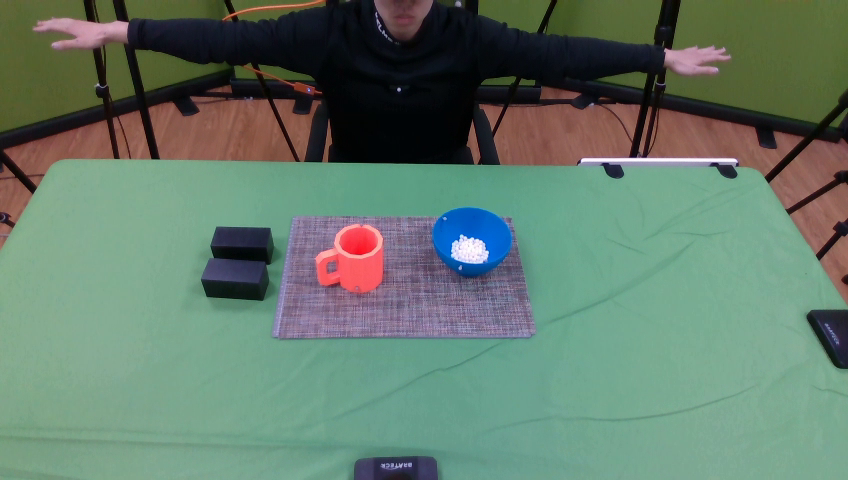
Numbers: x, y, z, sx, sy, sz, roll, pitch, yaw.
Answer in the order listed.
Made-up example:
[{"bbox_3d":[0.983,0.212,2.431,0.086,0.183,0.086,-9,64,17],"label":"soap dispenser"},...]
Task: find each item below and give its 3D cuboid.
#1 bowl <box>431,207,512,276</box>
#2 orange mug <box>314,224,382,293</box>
[{"bbox_3d":[0.086,0.016,1.147,0.151,0.077,0.150,3,46,-2],"label":"bowl"},{"bbox_3d":[-0.135,0.038,1.094,0.126,0.101,0.083,-14,49,-23],"label":"orange mug"}]
